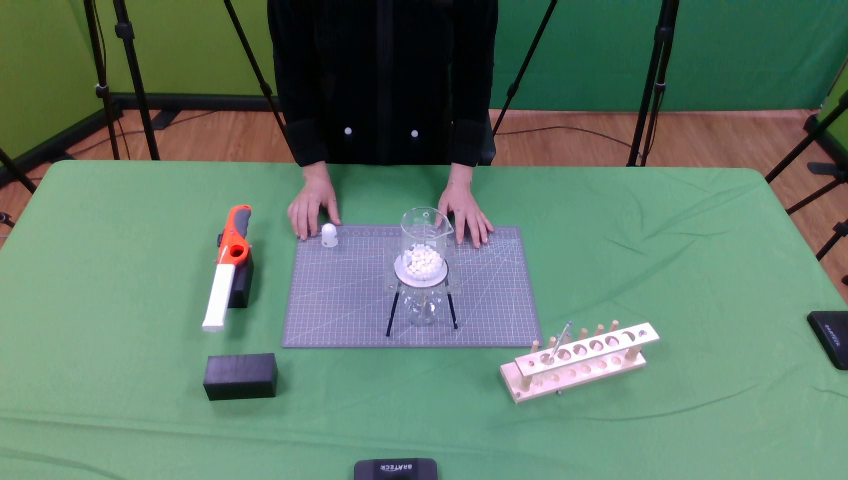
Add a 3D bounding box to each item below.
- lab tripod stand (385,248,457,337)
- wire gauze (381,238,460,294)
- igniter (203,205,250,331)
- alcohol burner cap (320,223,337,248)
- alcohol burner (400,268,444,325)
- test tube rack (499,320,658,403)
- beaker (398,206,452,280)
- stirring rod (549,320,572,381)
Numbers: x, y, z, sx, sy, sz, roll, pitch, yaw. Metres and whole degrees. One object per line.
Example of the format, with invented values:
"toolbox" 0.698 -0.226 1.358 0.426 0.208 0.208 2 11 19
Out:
"lab tripod stand" -0.010 0.087 1.032 0.148 0.132 0.147 1 45 -1
"wire gauze" -0.008 0.042 0.985 0.125 0.011 0.120 -1 43 -2
"igniter" -0.345 0.039 1.065 0.057 0.025 0.274 2 48 -6
"alcohol burner cap" -0.188 -0.011 1.176 0.034 0.048 0.033 2 46 -2
"alcohol burner" -0.003 0.092 1.042 0.078 0.120 0.077 1 46 -1
"test tube rack" 0.252 0.187 0.994 0.243 0.085 0.066 -12 48 -15
"beaker" 0.000 0.008 0.950 0.084 0.101 0.073 10 45 6
"stirring rod" 0.202 0.167 0.901 0.006 0.177 0.014 -17 54 -11
